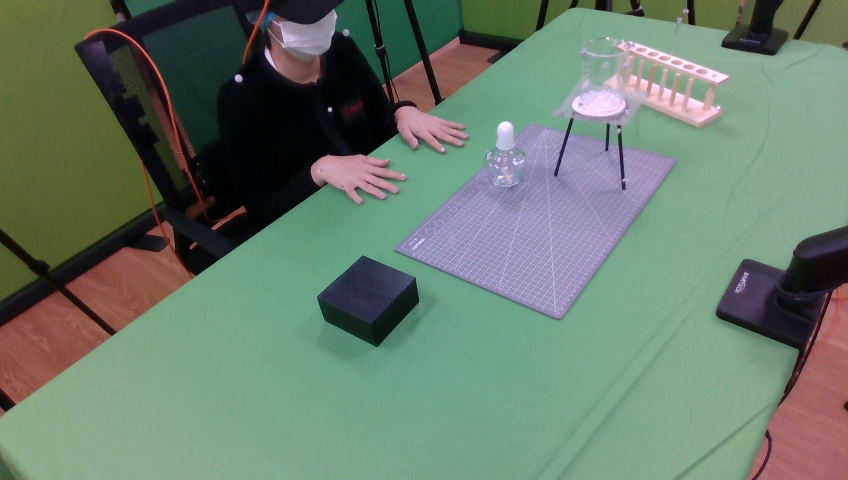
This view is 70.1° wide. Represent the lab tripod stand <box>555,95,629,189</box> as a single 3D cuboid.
[{"bbox_3d":[0.300,-0.174,1.045,0.148,0.132,0.147,-5,38,5],"label":"lab tripod stand"}]

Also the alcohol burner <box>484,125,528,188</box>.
[{"bbox_3d":[0.144,-0.152,1.059,0.078,0.119,0.077,-3,41,3],"label":"alcohol burner"}]

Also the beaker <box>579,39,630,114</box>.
[{"bbox_3d":[0.289,-0.263,0.975,0.073,0.101,0.084,17,45,27],"label":"beaker"}]

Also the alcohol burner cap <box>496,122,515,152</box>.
[{"bbox_3d":[0.139,-0.179,1.037,0.034,0.048,0.033,-4,43,4],"label":"alcohol burner cap"}]

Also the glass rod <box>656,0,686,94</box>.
[{"bbox_3d":[0.491,-0.381,1.199,0.008,0.200,0.008,1,41,0],"label":"glass rod"}]

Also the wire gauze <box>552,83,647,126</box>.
[{"bbox_3d":[0.293,-0.224,1.004,0.120,0.011,0.125,19,43,26],"label":"wire gauze"}]

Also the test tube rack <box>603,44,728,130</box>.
[{"bbox_3d":[0.480,-0.316,1.227,0.067,0.085,0.240,-28,44,-22],"label":"test tube rack"}]
